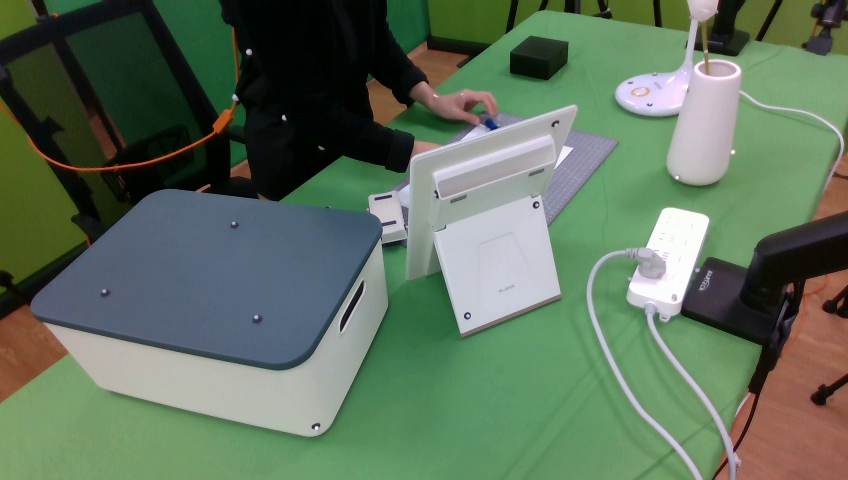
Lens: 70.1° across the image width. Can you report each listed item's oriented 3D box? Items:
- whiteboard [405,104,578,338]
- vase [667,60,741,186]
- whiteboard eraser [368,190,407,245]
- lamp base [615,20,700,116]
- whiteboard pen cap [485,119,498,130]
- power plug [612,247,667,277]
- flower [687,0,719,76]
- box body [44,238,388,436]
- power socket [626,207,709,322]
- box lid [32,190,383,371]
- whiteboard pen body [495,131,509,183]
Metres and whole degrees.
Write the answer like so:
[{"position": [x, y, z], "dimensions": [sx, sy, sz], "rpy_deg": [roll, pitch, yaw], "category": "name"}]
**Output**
[{"position": [0.102, 0.003, 0.787], "dimensions": [0.218, 0.306, 0.143], "rpy_deg": [-19, 62, -13], "category": "whiteboard"}, {"position": [0.463, -0.189, 0.994], "dimensions": [0.098, 0.201, 0.097], "rpy_deg": [-4, 40, 4], "category": "vase"}, {"position": [-0.061, -0.035, 1.006], "dimensions": [0.056, 0.042, 0.112], "rpy_deg": [-9, 40, -4], "category": "whiteboard eraser"}, {"position": [0.484, -0.364, 1.211], "dimensions": [0.180, 0.181, 0.159], "rpy_deg": [-15, 41, -14], "category": "lamp base"}, {"position": [0.138, -0.232, 1.229], "dimensions": [0.018, 0.018, 0.033], "rpy_deg": [-16, 41, -11], "category": "whiteboard pen cap"}, {"position": [0.306, 0.031, 0.852], "dimensions": [0.072, 0.053, 0.035], "rpy_deg": [21, 48, 37], "category": "power plug"}, {"position": [0.436, -0.242, 0.934], "dimensions": [0.038, 0.364, 0.043], "rpy_deg": [-24, 49, 9], "category": "flower"}, {"position": [-0.251, 0.088, 0.799], "dimensions": [0.362, 0.161, 0.254], "rpy_deg": [7, 42, 16], "category": "box body"}, {"position": [0.360, 0.026, 0.886], "dimensions": [0.072, 0.033, 0.227], "rpy_deg": [17, 46, 27], "category": "power socket"}, {"position": [-0.257, 0.032, 0.750], "dimensions": [0.370, 0.015, 0.263], "rpy_deg": [7, 41, 16], "category": "box lid"}, {"position": [0.134, -0.137, 1.028], "dimensions": [0.017, 0.141, 0.017], "rpy_deg": [-5, 60, 9], "category": "whiteboard pen body"}]
